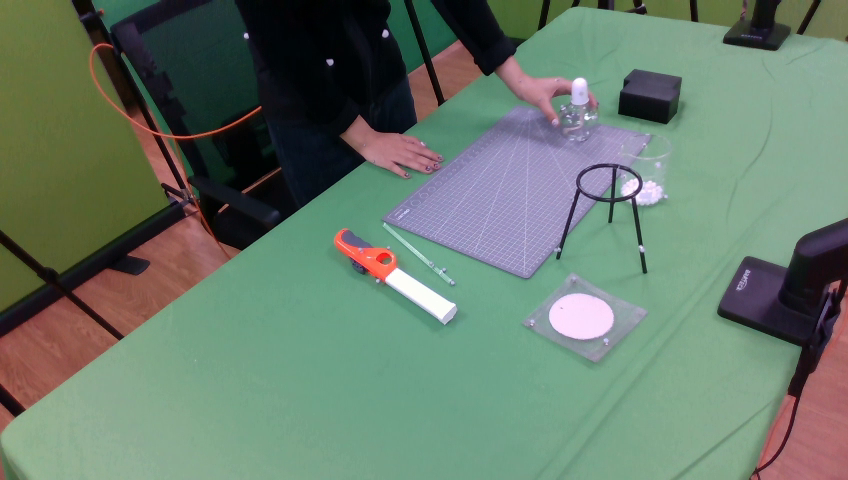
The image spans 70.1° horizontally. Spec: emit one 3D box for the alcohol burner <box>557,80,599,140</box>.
[{"bbox_3d":[0.292,-0.250,1.146,0.078,0.119,0.077,-4,41,4],"label":"alcohol burner"}]

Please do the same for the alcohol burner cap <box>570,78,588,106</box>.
[{"bbox_3d":[0.286,-0.277,1.122,0.034,0.048,0.033,-9,41,8],"label":"alcohol burner cap"}]

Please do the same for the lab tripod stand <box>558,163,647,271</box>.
[{"bbox_3d":[0.271,-0.034,0.885,0.148,0.132,0.147,-4,40,4],"label":"lab tripod stand"}]

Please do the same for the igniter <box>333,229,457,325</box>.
[{"bbox_3d":[-0.055,0.049,0.929,0.057,0.025,0.274,-42,49,-20],"label":"igniter"}]

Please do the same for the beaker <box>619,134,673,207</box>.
[{"bbox_3d":[0.357,-0.111,0.986,0.084,0.101,0.073,-10,40,1],"label":"beaker"}]

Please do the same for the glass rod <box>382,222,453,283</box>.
[{"bbox_3d":[-0.014,0.017,0.976,0.008,0.008,0.198,-30,44,-22],"label":"glass rod"}]

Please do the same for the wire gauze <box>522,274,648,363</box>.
[{"bbox_3d":[0.220,0.105,0.828,0.125,0.011,0.120,-35,47,-30],"label":"wire gauze"}]
